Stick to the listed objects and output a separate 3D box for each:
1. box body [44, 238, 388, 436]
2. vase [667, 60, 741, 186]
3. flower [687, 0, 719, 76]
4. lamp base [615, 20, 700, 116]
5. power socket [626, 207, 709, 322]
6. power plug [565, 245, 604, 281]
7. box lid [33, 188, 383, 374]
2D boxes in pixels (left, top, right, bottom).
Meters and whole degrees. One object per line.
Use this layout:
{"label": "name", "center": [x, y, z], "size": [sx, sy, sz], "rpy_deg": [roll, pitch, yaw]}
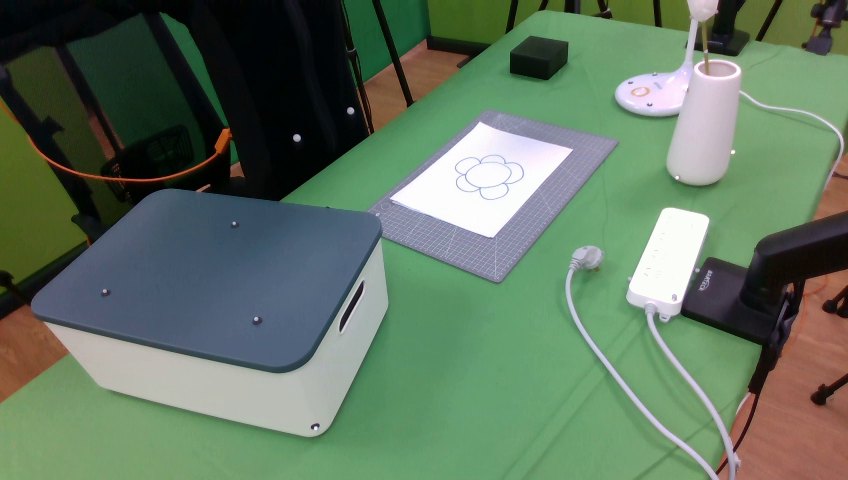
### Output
{"label": "box body", "center": [-0.251, 0.088, 0.799], "size": [0.362, 0.161, 0.254], "rpy_deg": [7, 42, 16]}
{"label": "vase", "center": [0.463, -0.189, 0.994], "size": [0.098, 0.201, 0.097], "rpy_deg": [-4, 40, 4]}
{"label": "flower", "center": [0.436, -0.242, 0.934], "size": [0.038, 0.364, 0.043], "rpy_deg": [-24, 49, 8]}
{"label": "lamp base", "center": [0.484, -0.364, 1.211], "size": [0.180, 0.181, 0.159], "rpy_deg": [-15, 41, -14]}
{"label": "power socket", "center": [0.360, 0.026, 0.886], "size": [0.072, 0.033, 0.227], "rpy_deg": [17, 46, 26]}
{"label": "power plug", "center": [0.234, 0.038, 0.890], "size": [0.072, 0.053, 0.035], "rpy_deg": [-47, 34, 1]}
{"label": "box lid", "center": [-0.257, 0.032, 0.751], "size": [0.370, 0.015, 0.263], "rpy_deg": [8, 42, 16]}
